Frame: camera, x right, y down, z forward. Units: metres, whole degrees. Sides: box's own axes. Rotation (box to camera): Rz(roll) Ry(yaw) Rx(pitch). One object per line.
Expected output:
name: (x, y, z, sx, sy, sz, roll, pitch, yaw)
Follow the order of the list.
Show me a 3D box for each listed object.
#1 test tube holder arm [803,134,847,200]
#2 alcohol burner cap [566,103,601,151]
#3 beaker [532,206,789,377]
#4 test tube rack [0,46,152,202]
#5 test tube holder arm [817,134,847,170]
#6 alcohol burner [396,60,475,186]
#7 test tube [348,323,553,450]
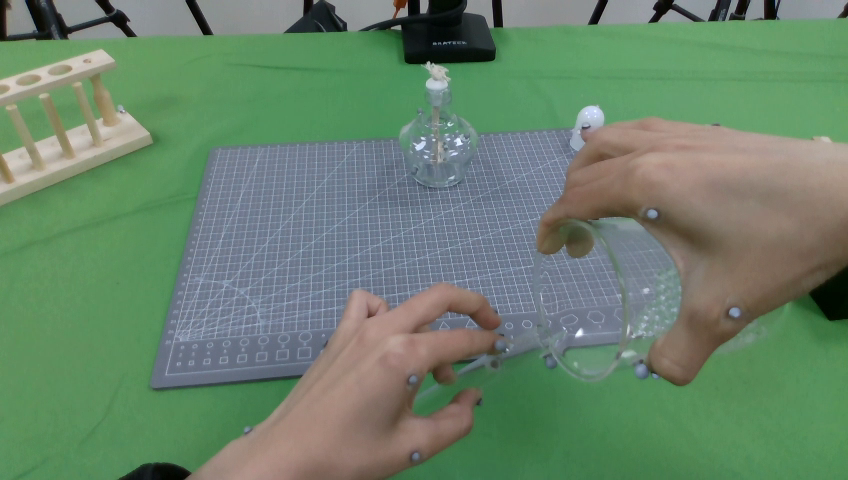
test tube holder arm: (0.362, -0.064, 0.537, 0.010, 0.015, 0.087, -7, 44, 4)
alcohol burner cap: (0.170, -0.122, 0.640, 0.034, 0.048, 0.033, 1, 44, 0)
beaker: (0.112, 0.023, 0.294, 0.100, 0.084, 0.073, -6, 58, -19)
test tube rack: (-0.402, -0.097, 0.577, 0.242, 0.086, 0.066, -32, 53, -30)
test tube holder arm: (0.370, -0.033, 0.504, 0.013, 0.015, 0.176, -7, 44, 3)
alcohol burner: (0.011, -0.113, 0.576, 0.078, 0.120, 0.077, -1, 43, 1)
test tube: (0.009, 0.087, 0.344, 0.017, 0.150, 0.017, 37, 33, -28)
